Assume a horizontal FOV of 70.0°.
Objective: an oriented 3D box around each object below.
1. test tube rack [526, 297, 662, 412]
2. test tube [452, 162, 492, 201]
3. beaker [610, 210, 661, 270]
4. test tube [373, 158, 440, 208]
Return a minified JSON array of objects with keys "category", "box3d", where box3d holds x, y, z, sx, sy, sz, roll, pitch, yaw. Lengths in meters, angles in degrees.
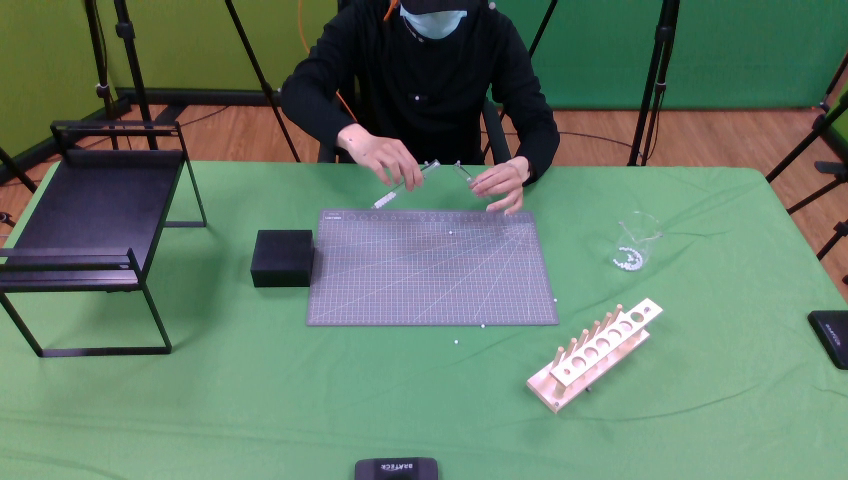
[{"category":"test tube rack","box3d":[0.284,0.176,1.007,0.242,0.085,0.066,-29,54,-27]},{"category":"test tube","box3d":[0.097,-0.112,1.182,0.017,0.151,0.017,-14,61,28]},{"category":"beaker","box3d":[0.404,0.005,1.170,0.074,0.101,0.083,19,49,15]},{"category":"test tube","box3d":[-0.034,-0.104,1.123,0.150,0.017,0.017,-34,48,13]}]
